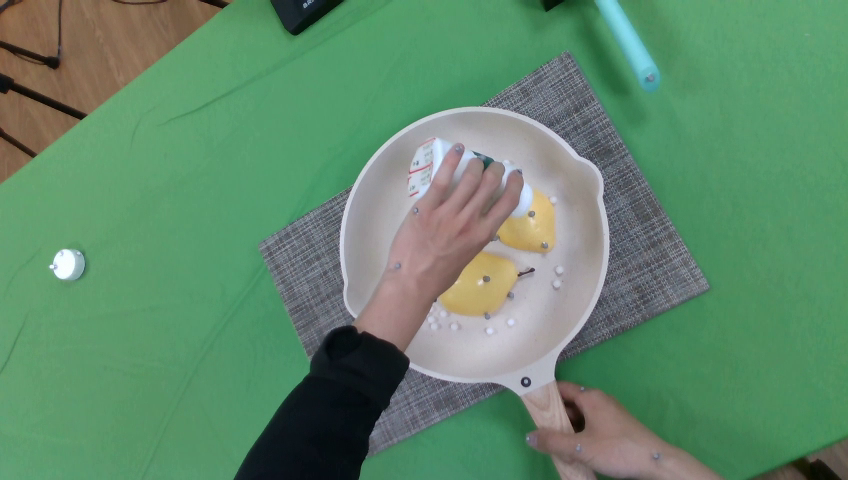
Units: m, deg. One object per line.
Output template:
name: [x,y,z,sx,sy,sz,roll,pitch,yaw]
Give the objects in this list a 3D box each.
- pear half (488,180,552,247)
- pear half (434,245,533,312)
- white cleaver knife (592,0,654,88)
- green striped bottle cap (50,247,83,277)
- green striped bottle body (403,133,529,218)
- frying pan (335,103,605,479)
pear half: [0.105,-0.029,0.668,0.070,0.031,0.087,-45,73,16]
pear half: [0.064,0.039,0.666,0.110,0.056,0.076,-17,87,13]
white cleaver knife: [0.173,-0.285,0.648,0.021,0.066,0.285,-28,78,19]
green striped bottle cap: [-0.511,0.032,0.865,0.044,0.020,0.044,-1,87,18]
green striped bottle body: [0.045,-0.059,0.598,0.120,0.062,0.063,13,91,-27]
frying pan: [0.087,0.092,0.632,0.306,0.103,0.484,-28,71,15]
